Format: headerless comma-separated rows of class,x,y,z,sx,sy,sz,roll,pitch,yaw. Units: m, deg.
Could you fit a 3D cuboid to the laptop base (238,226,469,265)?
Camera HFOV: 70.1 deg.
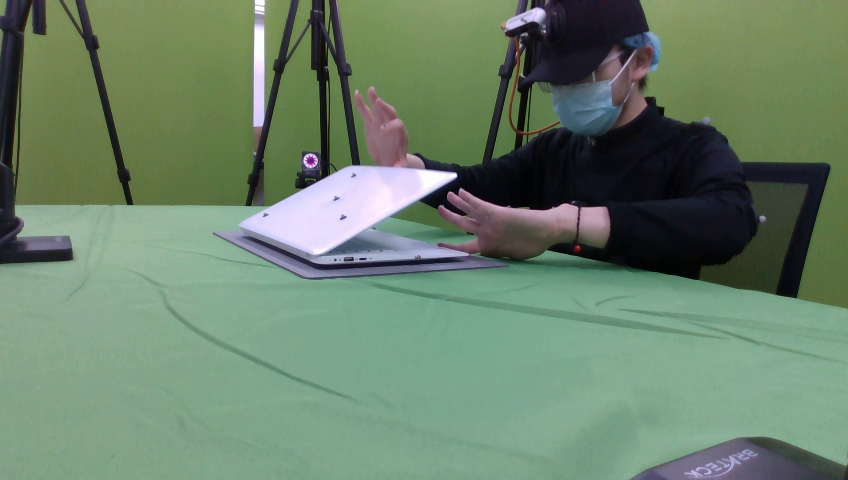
laptop base,-0.124,0.005,0.936,0.237,0.023,0.352,1,7,-33

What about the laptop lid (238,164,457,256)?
laptop lid,-0.133,-0.060,0.920,0.242,0.013,0.355,-32,23,-23
